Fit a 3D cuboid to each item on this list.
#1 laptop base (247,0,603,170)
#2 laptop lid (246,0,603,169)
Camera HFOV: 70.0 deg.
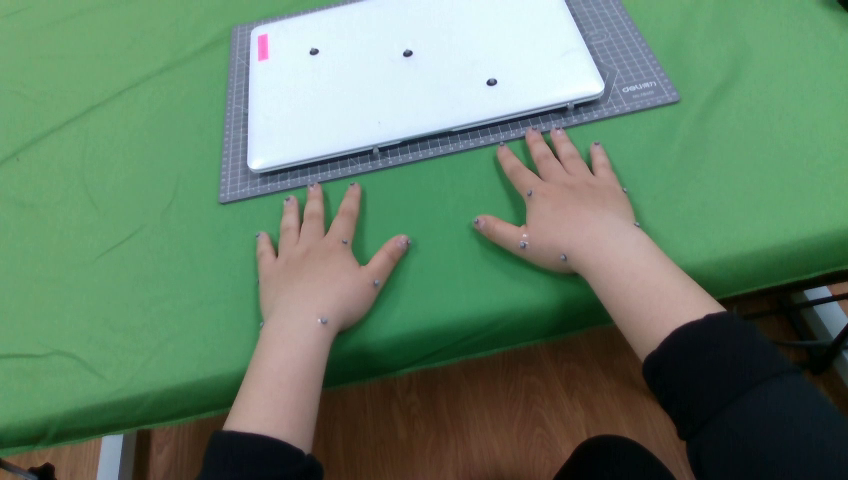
[{"bbox_3d":[-0.016,-0.192,0.651,0.354,0.023,0.233,-12,56,2],"label":"laptop base"},{"bbox_3d":[-0.017,-0.197,0.640,0.357,0.013,0.239,-11,55,3],"label":"laptop lid"}]
